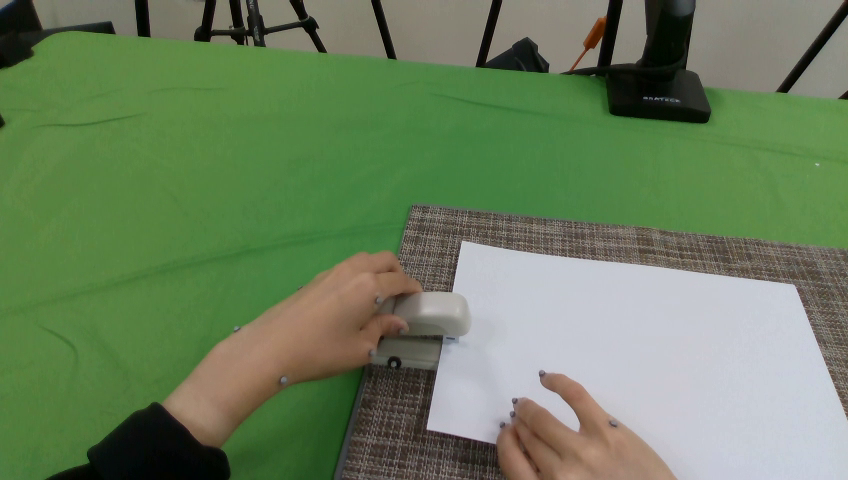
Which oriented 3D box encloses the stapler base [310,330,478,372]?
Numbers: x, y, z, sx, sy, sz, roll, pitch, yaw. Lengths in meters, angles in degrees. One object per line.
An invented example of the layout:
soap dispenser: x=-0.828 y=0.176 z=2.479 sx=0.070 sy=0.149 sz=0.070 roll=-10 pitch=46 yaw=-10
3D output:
stapler base: x=-0.023 y=0.075 z=0.472 sx=0.130 sy=0.024 sz=0.041 roll=5 pitch=40 yaw=6

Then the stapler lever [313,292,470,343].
stapler lever: x=-0.025 y=0.056 z=0.455 sx=0.118 sy=0.040 sz=0.026 roll=5 pitch=41 yaw=6
